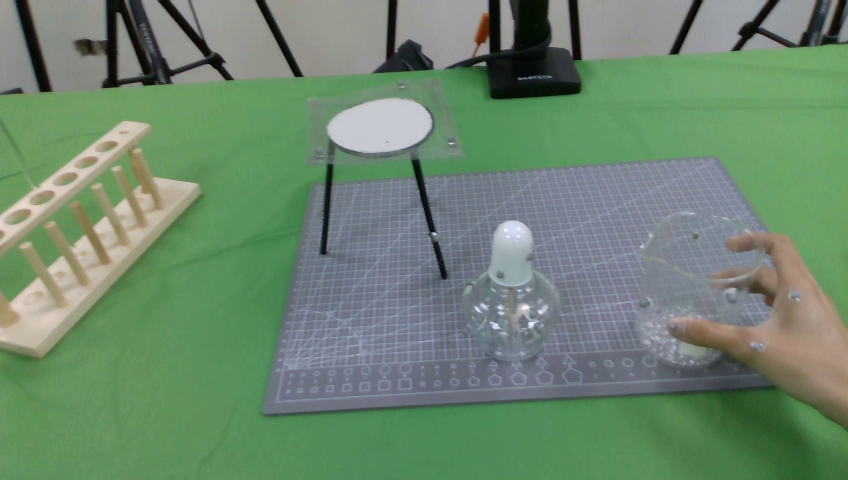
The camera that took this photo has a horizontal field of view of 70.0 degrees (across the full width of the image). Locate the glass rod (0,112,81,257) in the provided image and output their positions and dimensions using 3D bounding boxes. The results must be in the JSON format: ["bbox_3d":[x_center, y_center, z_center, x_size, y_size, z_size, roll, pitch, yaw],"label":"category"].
[{"bbox_3d":[-0.352,-0.065,0.537,0.008,0.201,0.008,-6,35,5],"label":"glass rod"}]

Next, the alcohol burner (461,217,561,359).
[{"bbox_3d":[0.066,0.033,0.459,0.078,0.120,0.077,-3,39,3],"label":"alcohol burner"}]

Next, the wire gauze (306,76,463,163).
[{"bbox_3d":[-0.037,-0.101,0.504,0.125,0.011,0.120,-8,41,-2],"label":"wire gauze"}]

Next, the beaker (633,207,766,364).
[{"bbox_3d":[0.196,0.038,0.451,0.084,0.101,0.073,-6,41,1],"label":"beaker"}]

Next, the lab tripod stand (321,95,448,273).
[{"bbox_3d":[-0.033,-0.051,0.549,0.148,0.133,0.147,-3,43,3],"label":"lab tripod stand"}]

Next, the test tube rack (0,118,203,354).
[{"bbox_3d":[-0.320,-0.016,0.578,0.066,0.086,0.241,10,43,16],"label":"test tube rack"}]

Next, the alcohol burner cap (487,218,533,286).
[{"bbox_3d":[0.063,0.007,0.435,0.034,0.048,0.033,-1,39,1],"label":"alcohol burner cap"}]
